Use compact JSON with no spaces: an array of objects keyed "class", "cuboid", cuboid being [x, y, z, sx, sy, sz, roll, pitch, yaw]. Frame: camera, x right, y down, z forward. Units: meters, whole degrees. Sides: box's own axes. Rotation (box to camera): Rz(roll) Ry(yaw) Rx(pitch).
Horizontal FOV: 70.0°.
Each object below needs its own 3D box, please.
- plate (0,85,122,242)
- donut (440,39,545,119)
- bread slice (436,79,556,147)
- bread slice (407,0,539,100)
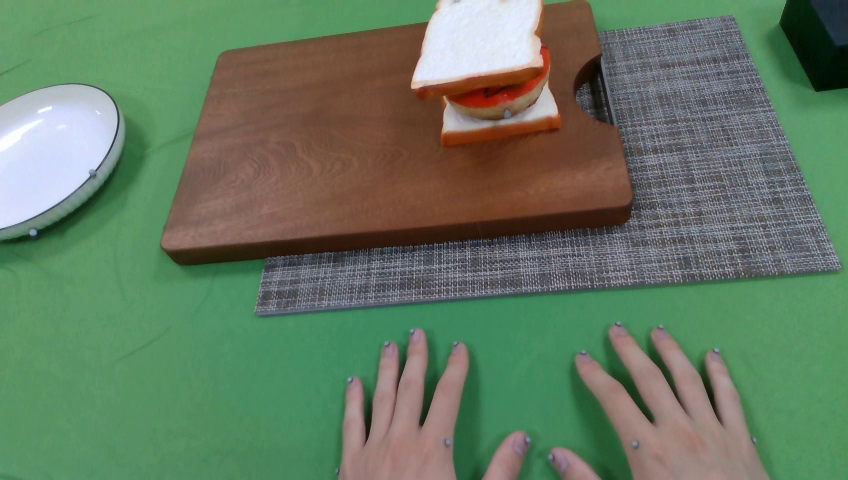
[{"class":"plate","cuboid":[-0.412,-0.078,0.633,0.209,0.038,0.207,-5,55,8]},{"class":"donut","cuboid":[0.056,-0.148,0.528,0.099,0.049,0.098,-6,55,9]},{"class":"bread slice","cuboid":[0.058,-0.144,0.561,0.105,0.019,0.130,-8,56,5]},{"class":"bread slice","cuboid":[0.044,-0.172,0.511,0.106,0.018,0.133,-7,51,18]}]
